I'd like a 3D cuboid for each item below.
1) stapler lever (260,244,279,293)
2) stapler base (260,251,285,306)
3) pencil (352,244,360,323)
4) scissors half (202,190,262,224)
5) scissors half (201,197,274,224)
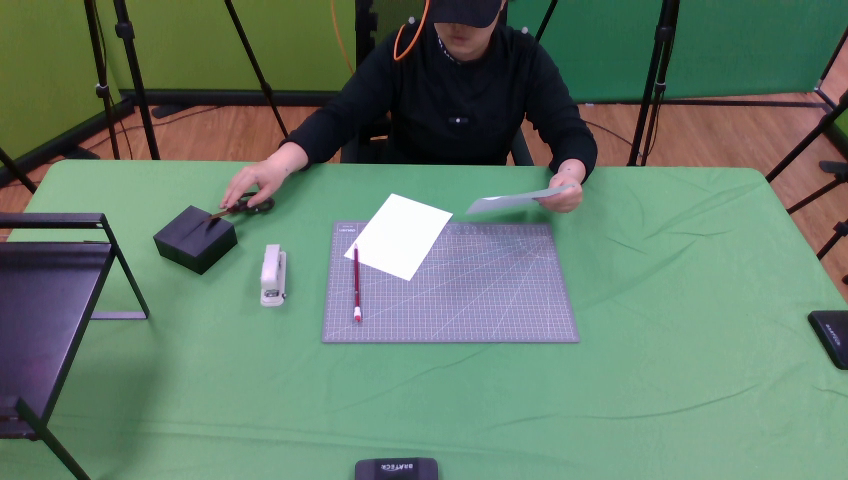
[{"bbox_3d":[-0.279,0.045,1.096,0.027,0.040,0.117,-2,44,-9],"label":"stapler lever"},{"bbox_3d":[-0.279,0.064,1.113,0.041,0.024,0.129,-1,44,-9],"label":"stapler base"},{"bbox_3d":[-0.127,0.075,1.120,0.012,0.012,0.192,-2,44,-7],"label":"pencil"},{"bbox_3d":[-0.381,-0.065,1.198,0.040,0.013,0.175,21,29,10],"label":"scissors half"},{"bbox_3d":[-0.364,-0.056,1.192,0.040,0.013,0.175,36,34,23],"label":"scissors half"}]
